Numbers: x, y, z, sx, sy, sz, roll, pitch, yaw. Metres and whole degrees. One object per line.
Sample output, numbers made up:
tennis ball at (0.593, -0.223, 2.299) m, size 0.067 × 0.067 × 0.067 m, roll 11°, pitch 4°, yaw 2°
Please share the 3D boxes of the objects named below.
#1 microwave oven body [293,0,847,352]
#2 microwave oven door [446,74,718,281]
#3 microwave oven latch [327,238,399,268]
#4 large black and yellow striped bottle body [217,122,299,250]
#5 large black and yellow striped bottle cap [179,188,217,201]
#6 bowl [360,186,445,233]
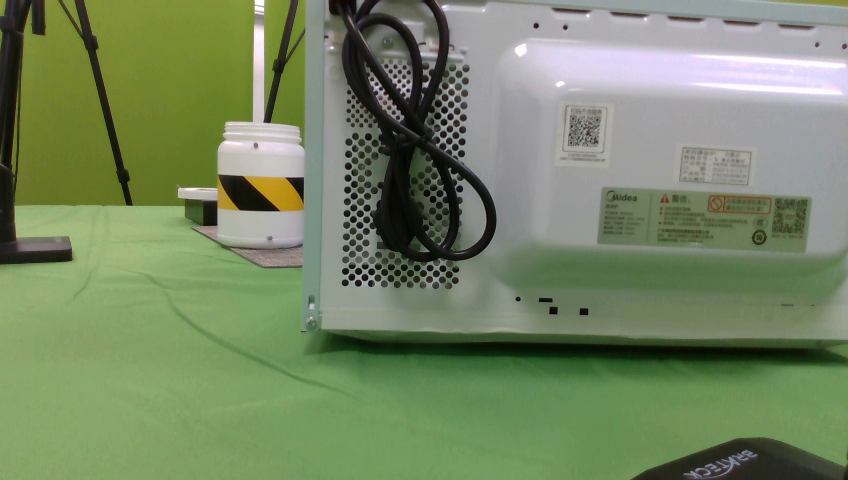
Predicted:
microwave oven body at (0.122, -0.055, 0.550) m, size 0.442 × 0.260 × 0.325 m, roll 3°, pitch 7°, yaw -5°
microwave oven door at (0.189, -0.090, 0.810) m, size 0.354 × 0.243 × 0.039 m, roll 8°, pitch 9°, yaw 36°
microwave oven latch at (-0.069, 0.015, 0.694) m, size 0.079 × 0.029 × 0.030 m, roll 3°, pitch 7°, yaw -3°
large black and yellow striped bottle body at (-0.250, -0.084, 0.931) m, size 0.131 × 0.184 × 0.130 m, roll 3°, pitch 7°, yaw 0°
large black and yellow striped bottle cap at (-0.434, -0.093, 1.226) m, size 0.115 × 0.019 × 0.115 m, roll 3°, pitch 9°, yaw 0°
bowl at (-0.040, -0.055, 1.077) m, size 0.151 × 0.077 × 0.151 m, roll 2°, pitch 6°, yaw 0°
